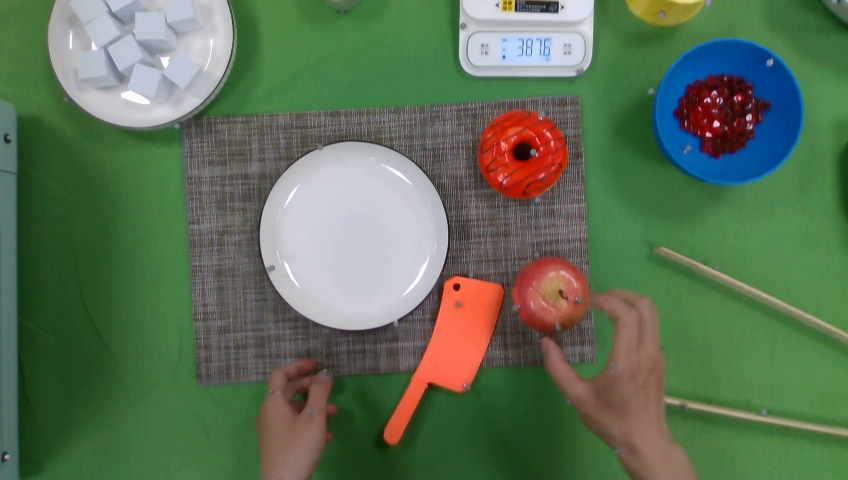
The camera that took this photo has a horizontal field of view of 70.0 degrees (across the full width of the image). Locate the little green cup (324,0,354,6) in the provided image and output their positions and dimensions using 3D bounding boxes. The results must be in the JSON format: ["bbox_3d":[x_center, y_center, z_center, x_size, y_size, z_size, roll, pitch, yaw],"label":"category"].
[{"bbox_3d":[-0.098,-0.293,0.673,0.061,0.038,0.061,0,89,1],"label":"little green cup"}]

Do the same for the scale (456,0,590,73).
[{"bbox_3d":[0.111,-0.289,0.673,0.148,0.031,0.200,1,90,1],"label":"scale"}]

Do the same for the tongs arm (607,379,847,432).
[{"bbox_3d":[0.396,0.176,0.663,0.385,0.026,0.050,12,86,0],"label":"tongs arm"}]

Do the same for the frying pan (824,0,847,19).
[{"bbox_3d":[0.585,-0.263,0.631,0.307,0.103,0.486,-30,81,1],"label":"frying pan"}]

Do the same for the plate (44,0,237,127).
[{"bbox_3d":[-0.309,-0.226,0.675,0.208,0.039,0.207,0,89,1],"label":"plate"}]

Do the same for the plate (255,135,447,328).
[{"bbox_3d":[-0.078,-0.009,0.666,0.209,0.038,0.209,0,89,1],"label":"plate"}]

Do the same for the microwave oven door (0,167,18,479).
[{"bbox_3d":[-0.471,0.096,0.554,0.039,0.244,0.355,-1,89,1],"label":"microwave oven door"}]

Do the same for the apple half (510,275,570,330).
[{"bbox_3d":[0.115,0.073,0.644,0.081,0.081,0.033,42,86,2],"label":"apple half"}]

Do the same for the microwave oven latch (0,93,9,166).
[{"bbox_3d":[-0.471,-0.121,0.657,0.030,0.029,0.079,1,90,0],"label":"microwave oven latch"}]

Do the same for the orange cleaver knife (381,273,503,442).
[{"bbox_3d":[0.020,0.132,0.672,0.077,0.012,0.211,26,87,-5],"label":"orange cleaver knife"}]

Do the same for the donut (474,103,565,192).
[{"bbox_3d":[0.103,-0.100,0.662,0.099,0.048,0.099,0,90,3],"label":"donut"}]

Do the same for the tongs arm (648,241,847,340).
[{"bbox_3d":[0.422,0.093,0.666,0.387,0.028,0.028,27,82,1],"label":"tongs arm"}]

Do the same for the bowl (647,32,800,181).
[{"bbox_3d":[0.304,-0.134,0.647,0.151,0.077,0.151,0,90,1],"label":"bowl"}]

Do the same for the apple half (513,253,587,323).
[{"bbox_3d":[0.140,0.044,0.646,0.080,0.075,0.053,41,86,5],"label":"apple half"}]

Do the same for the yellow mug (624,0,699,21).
[{"bbox_3d":[0.258,-0.310,0.654,0.100,0.064,0.130,-36,88,1],"label":"yellow mug"}]
